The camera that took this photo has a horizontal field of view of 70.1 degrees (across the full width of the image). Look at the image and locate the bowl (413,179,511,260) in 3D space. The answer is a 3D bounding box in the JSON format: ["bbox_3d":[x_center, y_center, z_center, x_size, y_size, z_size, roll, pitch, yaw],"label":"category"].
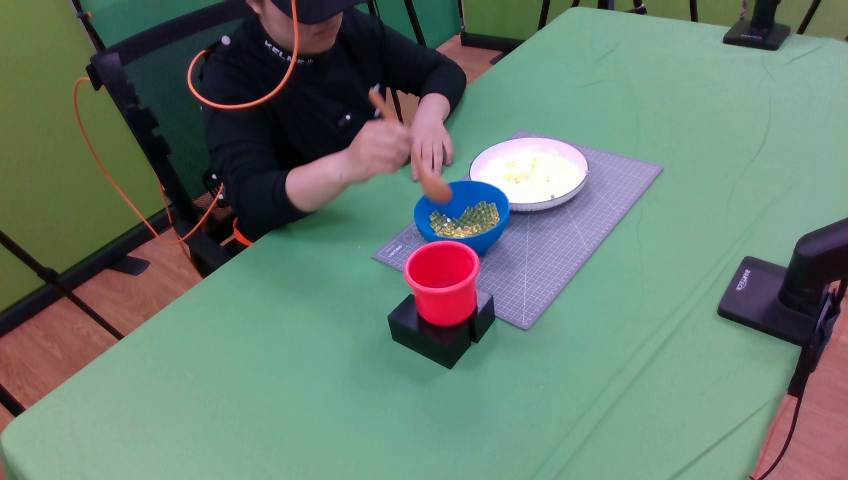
[{"bbox_3d":[0.062,-0.021,0.947,0.151,0.077,0.150,-5,40,5],"label":"bowl"}]

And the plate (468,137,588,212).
[{"bbox_3d":[0.182,-0.112,1.064,0.207,0.039,0.206,-5,40,5],"label":"plate"}]

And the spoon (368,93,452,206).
[{"bbox_3d":[-0.022,-0.126,0.859,0.041,0.194,0.022,-24,17,38],"label":"spoon"}]
